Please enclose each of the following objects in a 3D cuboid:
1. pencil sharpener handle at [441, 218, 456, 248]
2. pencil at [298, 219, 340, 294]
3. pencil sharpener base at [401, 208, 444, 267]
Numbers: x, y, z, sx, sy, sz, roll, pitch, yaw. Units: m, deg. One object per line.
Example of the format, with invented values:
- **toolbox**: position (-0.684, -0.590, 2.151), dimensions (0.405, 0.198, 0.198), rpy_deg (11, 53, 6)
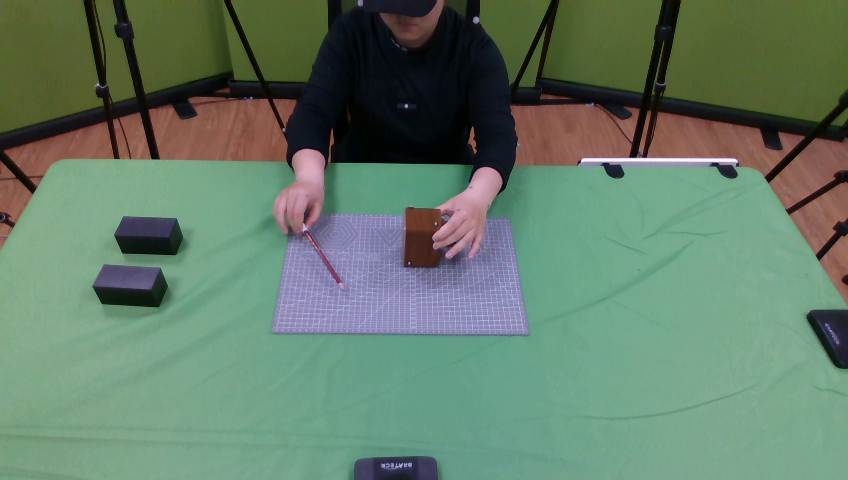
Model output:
- **pencil sharpener handle**: position (0.048, -0.011, 1.132), dimensions (0.031, 0.068, 0.036), rpy_deg (1, 45, -4)
- **pencil**: position (-0.197, 0.029, 1.138), dimensions (0.012, 0.012, 0.193), rpy_deg (-20, 56, -22)
- **pencil sharpener base**: position (-0.004, -0.003, 1.137), dimensions (0.077, 0.107, 0.061), rpy_deg (1, 45, -4)
